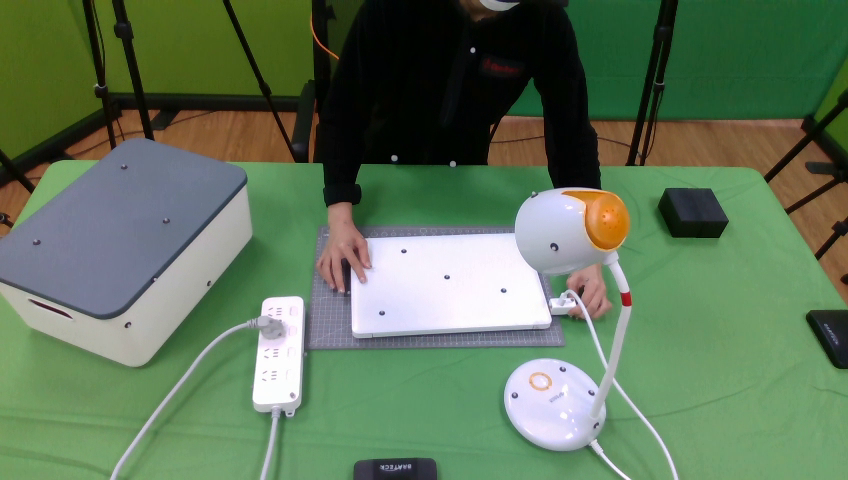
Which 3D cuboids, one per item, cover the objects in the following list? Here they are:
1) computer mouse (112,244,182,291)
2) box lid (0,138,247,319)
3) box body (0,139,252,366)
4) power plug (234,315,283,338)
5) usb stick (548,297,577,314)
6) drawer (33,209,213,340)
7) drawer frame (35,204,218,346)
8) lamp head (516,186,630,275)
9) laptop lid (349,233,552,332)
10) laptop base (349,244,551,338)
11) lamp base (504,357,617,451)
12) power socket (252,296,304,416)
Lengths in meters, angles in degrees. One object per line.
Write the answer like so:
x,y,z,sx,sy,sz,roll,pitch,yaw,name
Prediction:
-0.493,0.046,1.078,0.117,0.041,0.062,24,41,13,computer mouse
-0.493,-0.037,0.994,0.263,0.015,0.370,17,46,12,box lid
-0.496,0.013,1.049,0.254,0.161,0.362,17,47,12,box body
-0.269,0.143,1.000,0.072,0.053,0.035,4,47,2,power plug
0.241,0.118,1.087,0.059,0.027,0.021,-4,53,-3,usb stick
-0.509,0.054,1.046,0.194,0.073,0.211,15,43,10,drawer
-0.505,0.054,1.052,0.201,0.083,0.212,14,52,12,drawer frame
0.188,-0.013,0.728,0.112,0.112,0.122,-25,9,-25,lamp head
0.040,0.071,1.119,0.357,0.013,0.240,-1,44,-5,laptop lid
0.040,0.081,1.126,0.355,0.023,0.234,-2,43,-6,laptop base
0.220,0.211,0.903,0.160,0.181,0.178,-32,59,-30,lamp base
-0.237,0.182,0.997,0.072,0.033,0.225,-3,47,-5,power socket
